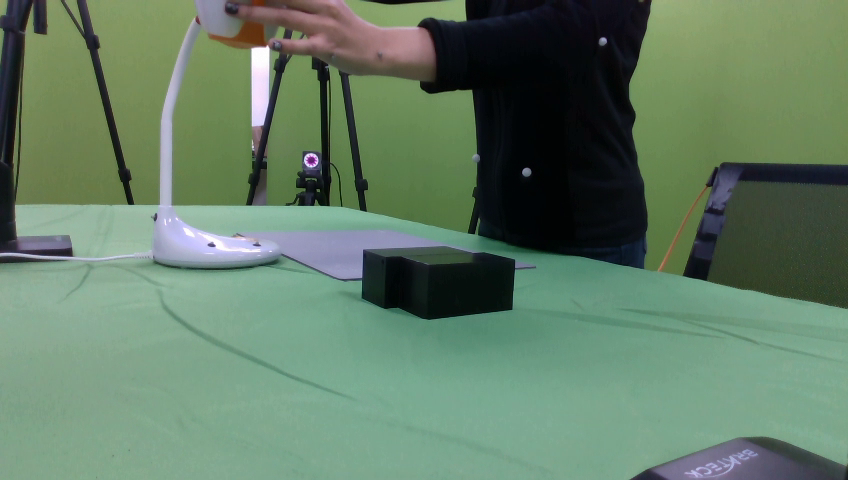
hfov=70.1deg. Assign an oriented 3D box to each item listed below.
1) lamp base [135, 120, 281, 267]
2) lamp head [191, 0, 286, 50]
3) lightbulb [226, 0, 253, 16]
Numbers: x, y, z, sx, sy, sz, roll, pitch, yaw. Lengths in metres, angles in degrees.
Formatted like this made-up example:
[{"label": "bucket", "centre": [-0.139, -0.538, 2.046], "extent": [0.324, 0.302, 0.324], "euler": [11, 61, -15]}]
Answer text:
[{"label": "lamp base", "centre": [-0.276, -0.061, 0.773], "extent": [0.160, 0.180, 0.180], "euler": [9, 13, 44]}, {"label": "lamp head", "centre": [-0.190, -0.257, 0.610], "extent": [0.112, 0.123, 0.112], "euler": [9, 19, -3]}, {"label": "lightbulb", "centre": [-0.180, -0.280, 0.604], "extent": [0.059, 0.107, 0.059], "euler": [9, 10, -1]}]
